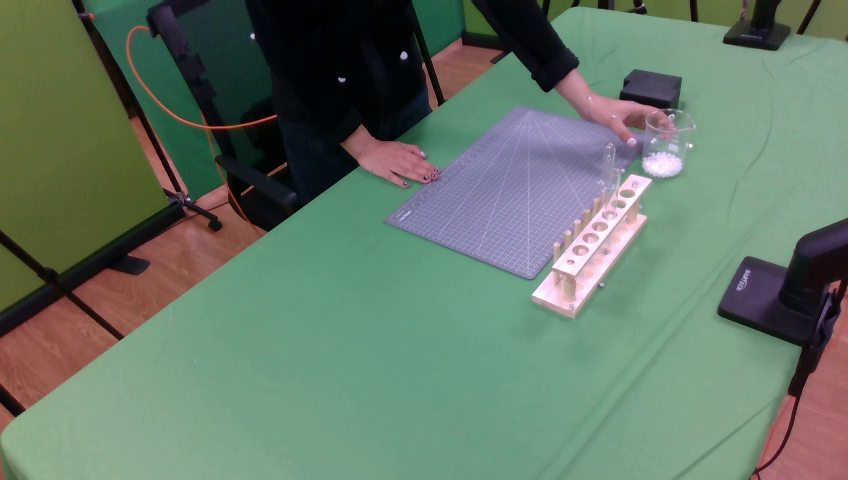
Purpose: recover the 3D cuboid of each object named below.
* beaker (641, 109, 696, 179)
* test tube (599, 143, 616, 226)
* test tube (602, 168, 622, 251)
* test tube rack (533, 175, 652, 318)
[{"bbox_3d":[0.415,-0.161,1.035,0.083,0.101,0.074,19,49,29],"label":"beaker"},{"bbox_3d":[0.273,-0.081,0.909,0.017,0.151,0.017,-4,42,4],"label":"test tube"},{"bbox_3d":[0.264,-0.039,0.854,0.017,0.151,0.017,-5,44,6],"label":"test tube"},{"bbox_3d":[0.250,-0.001,0.889,0.066,0.085,0.243,23,49,32],"label":"test tube rack"}]
